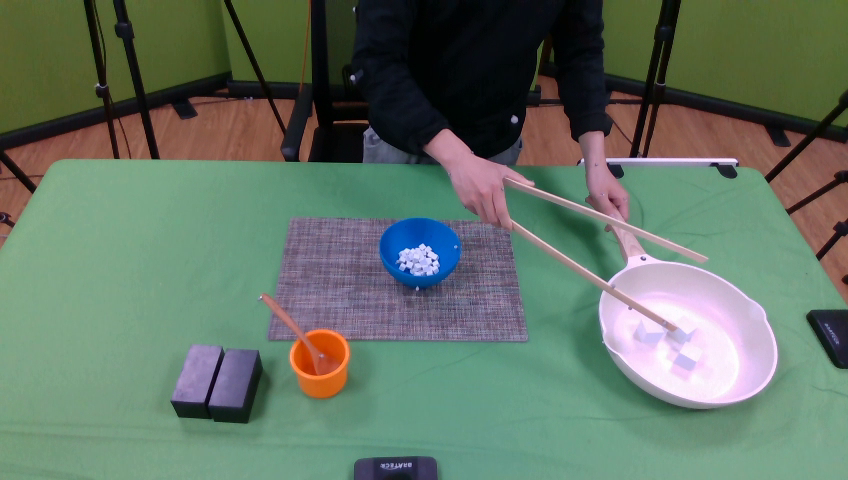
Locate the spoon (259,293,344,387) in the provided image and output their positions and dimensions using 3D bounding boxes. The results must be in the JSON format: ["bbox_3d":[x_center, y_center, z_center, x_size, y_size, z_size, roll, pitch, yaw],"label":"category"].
[{"bbox_3d":[-0.191,0.155,0.947,0.021,0.194,0.041,-13,27,50],"label":"spoon"}]

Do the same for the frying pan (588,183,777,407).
[{"bbox_3d":[0.412,0.079,1.097,0.307,0.103,0.484,-9,56,-14],"label":"frying pan"}]

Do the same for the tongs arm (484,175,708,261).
[{"bbox_3d":[0.285,-0.037,1.023,0.387,0.028,0.028,22,76,7],"label":"tongs arm"}]

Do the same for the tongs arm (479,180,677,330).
[{"bbox_3d":[0.248,0.022,1.000,0.384,0.026,0.050,32,74,10],"label":"tongs arm"}]

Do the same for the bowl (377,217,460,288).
[{"bbox_3d":[-0.011,0.036,1.118,0.151,0.077,0.150,2,46,-2],"label":"bowl"}]
